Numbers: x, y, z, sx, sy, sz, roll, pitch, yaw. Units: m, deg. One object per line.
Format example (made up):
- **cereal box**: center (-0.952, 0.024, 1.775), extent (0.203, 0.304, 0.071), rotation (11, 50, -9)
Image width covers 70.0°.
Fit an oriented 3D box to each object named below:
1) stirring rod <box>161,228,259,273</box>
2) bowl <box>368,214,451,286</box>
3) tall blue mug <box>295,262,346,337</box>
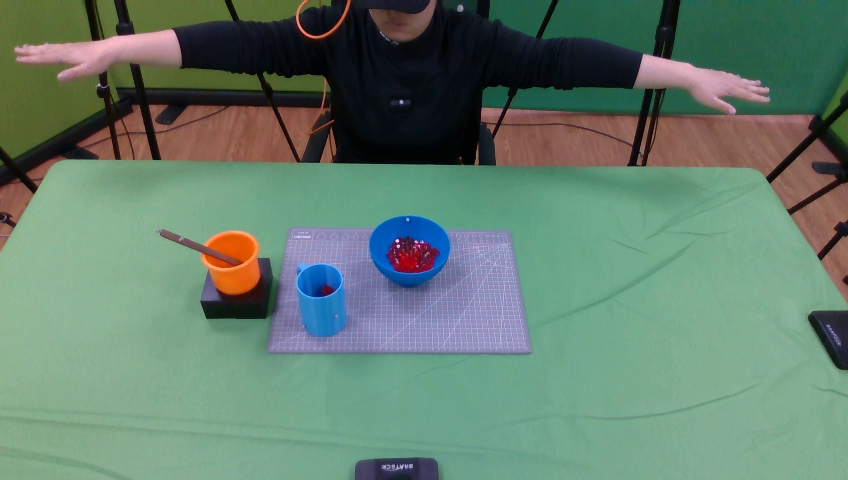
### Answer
- **stirring rod**: center (-0.351, 0.019, 1.003), extent (0.177, 0.006, 0.014), rotation (28, 34, -38)
- **bowl**: center (-0.028, 0.031, 1.122), extent (0.151, 0.077, 0.150), rotation (2, 46, -2)
- **tall blue mug**: center (-0.187, 0.096, 1.027), extent (0.107, 0.108, 0.077), rotation (21, 49, 16)
